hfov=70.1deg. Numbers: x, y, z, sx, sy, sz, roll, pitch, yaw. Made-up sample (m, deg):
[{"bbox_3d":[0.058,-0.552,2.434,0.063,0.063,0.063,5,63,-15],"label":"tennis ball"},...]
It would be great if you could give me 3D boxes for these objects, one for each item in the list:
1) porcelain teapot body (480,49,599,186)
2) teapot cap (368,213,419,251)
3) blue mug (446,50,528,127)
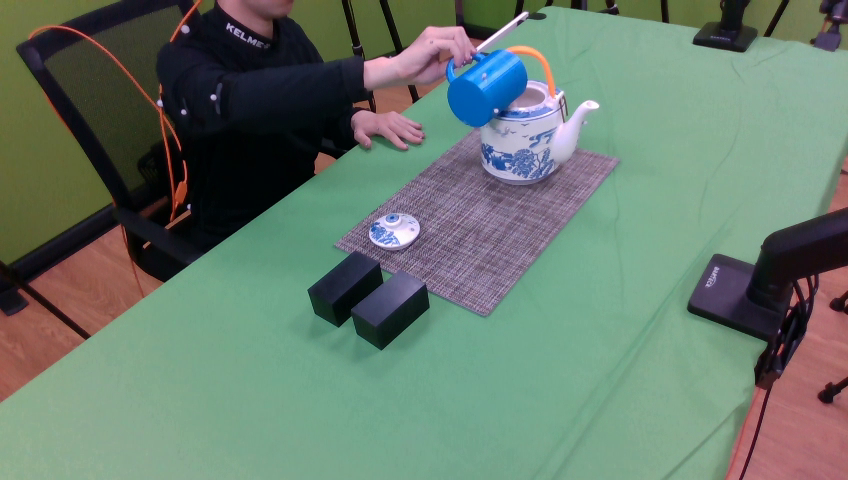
[{"bbox_3d":[0.193,-0.208,1.024,0.204,0.226,0.145,16,46,25],"label":"porcelain teapot body"},{"bbox_3d":[-0.050,-0.019,0.975,0.085,0.044,0.084,-4,43,4],"label":"teapot cap"},{"bbox_3d":[0.088,-0.248,0.944,0.116,0.082,0.106,44,58,6],"label":"blue mug"}]
